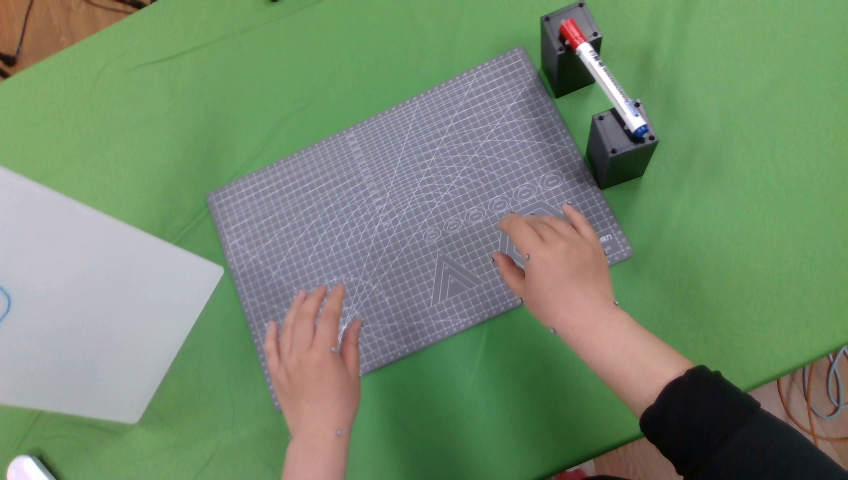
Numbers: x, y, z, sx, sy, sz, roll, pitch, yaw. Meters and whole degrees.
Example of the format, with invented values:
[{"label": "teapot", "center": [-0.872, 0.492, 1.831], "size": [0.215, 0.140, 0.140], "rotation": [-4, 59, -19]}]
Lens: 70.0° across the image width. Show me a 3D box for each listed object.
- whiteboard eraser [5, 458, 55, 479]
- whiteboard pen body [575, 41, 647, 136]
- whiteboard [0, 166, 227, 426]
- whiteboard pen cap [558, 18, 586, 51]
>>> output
[{"label": "whiteboard eraser", "center": [-0.463, 0.303, 0.727], "size": [0.100, 0.019, 0.041], "rotation": [37, 85, 16]}, {"label": "whiteboard pen body", "center": [0.184, -0.165, 0.619], "size": [0.017, 0.017, 0.139], "rotation": [-29, 74, 3]}, {"label": "whiteboard", "center": [-0.418, 0.055, 0.664], "size": [0.142, 0.308, 0.217], "rotation": [23, 81, 35]}, {"label": "whiteboard pen cap", "center": [0.156, -0.216, 0.636], "size": [0.017, 0.017, 0.032], "rotation": [-28, 74, 3]}]
